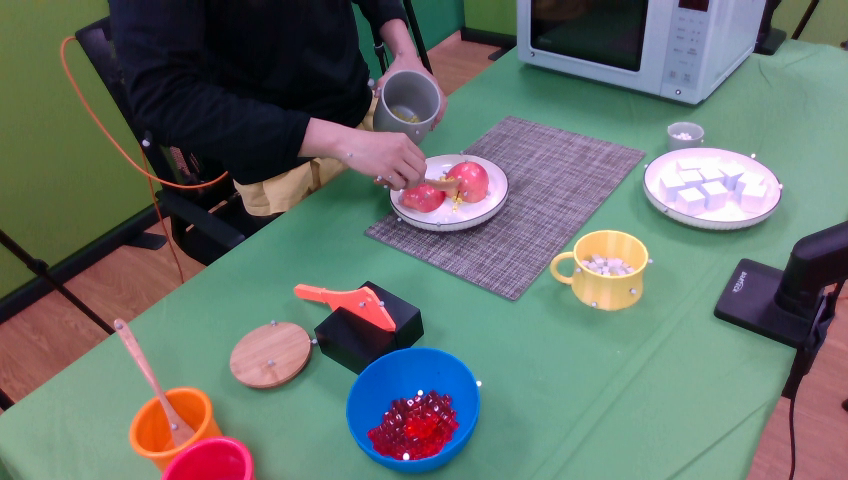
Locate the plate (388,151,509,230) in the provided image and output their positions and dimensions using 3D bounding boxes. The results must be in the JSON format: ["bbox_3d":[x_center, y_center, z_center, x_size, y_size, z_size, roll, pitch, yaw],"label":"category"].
[{"bbox_3d":[0.043,-0.082,1.043,0.209,0.038,0.208,-4,40,4],"label":"plate"}]

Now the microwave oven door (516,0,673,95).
[{"bbox_3d":[0.344,-0.458,1.256,0.353,0.245,0.039,26,51,33],"label":"microwave oven door"}]

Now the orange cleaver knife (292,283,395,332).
[{"bbox_3d":[-0.115,0.092,0.835,0.209,0.077,0.012,1,32,48],"label":"orange cleaver knife"}]

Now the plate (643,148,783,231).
[{"bbox_3d":[0.464,-0.080,0.986,0.207,0.039,0.206,-4,40,4],"label":"plate"}]

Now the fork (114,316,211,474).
[{"bbox_3d":[-0.308,0.179,0.708,0.028,0.018,0.207,-30,89,-23],"label":"fork"}]

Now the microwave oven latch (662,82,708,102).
[{"bbox_3d":[0.518,-0.299,1.203,0.078,0.029,0.030,29,53,36],"label":"microwave oven latch"}]

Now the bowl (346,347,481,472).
[{"bbox_3d":[-0.008,0.205,0.691,0.151,0.077,0.150,-4,40,4],"label":"bowl"}]

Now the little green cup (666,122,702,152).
[{"bbox_3d":[0.471,-0.184,1.102,0.061,0.039,0.061,-5,41,5],"label":"little green cup"}]

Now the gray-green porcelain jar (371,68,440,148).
[{"bbox_3d":[-0.038,-0.231,1.089,0.106,0.126,0.105,4,74,-13],"label":"gray-green porcelain jar"}]

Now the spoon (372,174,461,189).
[{"bbox_3d":[-0.010,-0.093,0.937,0.041,0.021,0.195,-13,-9,42],"label":"spoon"}]

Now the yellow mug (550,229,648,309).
[{"bbox_3d":[0.245,0.040,0.857,0.130,0.064,0.099,1,42,11],"label":"yellow mug"}]

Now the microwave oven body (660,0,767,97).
[{"bbox_3d":[0.473,-0.516,1.313,0.438,0.261,0.327,26,51,34],"label":"microwave oven body"}]

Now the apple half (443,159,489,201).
[{"bbox_3d":[0.074,-0.111,1.047,0.080,0.053,0.075,20,46,30],"label":"apple half"}]

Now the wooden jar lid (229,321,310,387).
[{"bbox_3d":[-0.207,0.156,0.820,0.108,0.021,0.108,-3,39,3],"label":"wooden jar lid"}]

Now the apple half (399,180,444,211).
[{"bbox_3d":[-0.004,-0.088,1.045,0.081,0.033,0.081,-2,43,2],"label":"apple half"}]
